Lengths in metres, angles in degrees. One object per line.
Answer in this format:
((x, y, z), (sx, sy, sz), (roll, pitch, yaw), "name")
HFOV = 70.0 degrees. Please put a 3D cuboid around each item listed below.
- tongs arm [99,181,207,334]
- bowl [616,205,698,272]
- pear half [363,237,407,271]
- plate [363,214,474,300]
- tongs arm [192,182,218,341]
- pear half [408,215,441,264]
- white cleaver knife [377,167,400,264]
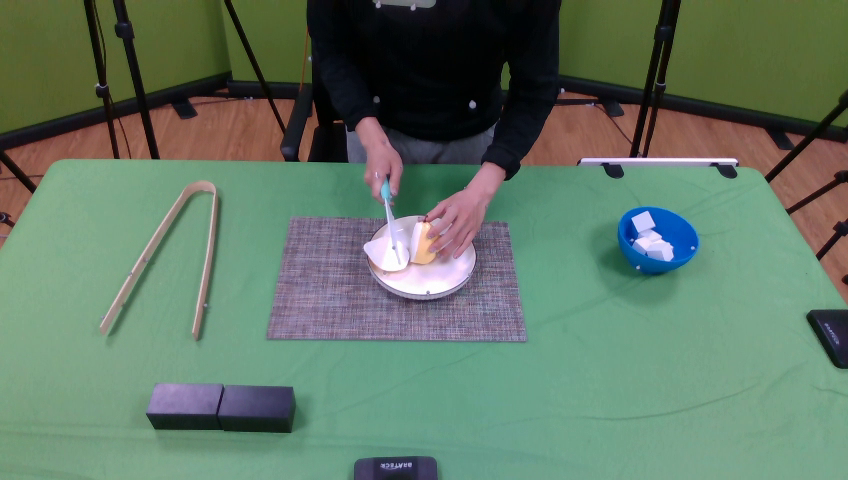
((-0.493, 0.018, 1.132), (0.051, 0.026, 0.382), (7, 45, 0), "tongs arm")
((0.443, 0.010, 1.182), (0.151, 0.077, 0.150), (2, 46, -2), "bowl")
((-0.076, 0.031, 1.139), (0.088, 0.031, 0.070), (18, 48, -11), "pear half")
((-0.010, 0.036, 1.146), (0.208, 0.039, 0.206), (3, 46, -2), "plate")
((-0.413, 0.025, 1.140), (0.028, 0.028, 0.385), (-5, 47, -7), "tongs arm")
((0.005, -0.006, 1.125), (0.056, 0.110, 0.076), (0, 50, -14), "pear half")
((-0.068, -0.052, 1.140), (0.021, 0.066, 0.284), (-15, 36, 3), "white cleaver knife")
